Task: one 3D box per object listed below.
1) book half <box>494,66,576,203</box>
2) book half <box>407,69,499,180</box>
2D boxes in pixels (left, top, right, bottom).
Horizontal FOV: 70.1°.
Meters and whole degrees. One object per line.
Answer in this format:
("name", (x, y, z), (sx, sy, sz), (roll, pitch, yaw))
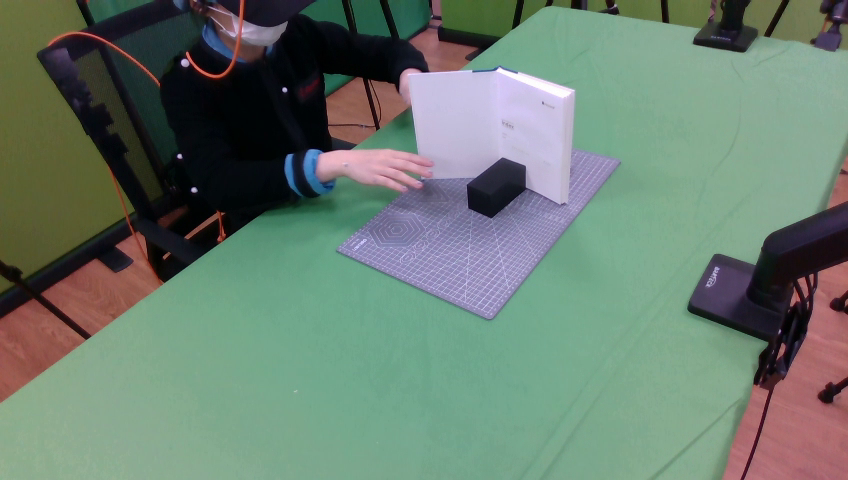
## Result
("book half", (0.179, -0.167, 0.988), (0.016, 0.211, 0.147), (-36, 48, -28))
("book half", (0.054, -0.191, 1.034), (0.143, 0.211, 0.007), (-2, 42, 7))
